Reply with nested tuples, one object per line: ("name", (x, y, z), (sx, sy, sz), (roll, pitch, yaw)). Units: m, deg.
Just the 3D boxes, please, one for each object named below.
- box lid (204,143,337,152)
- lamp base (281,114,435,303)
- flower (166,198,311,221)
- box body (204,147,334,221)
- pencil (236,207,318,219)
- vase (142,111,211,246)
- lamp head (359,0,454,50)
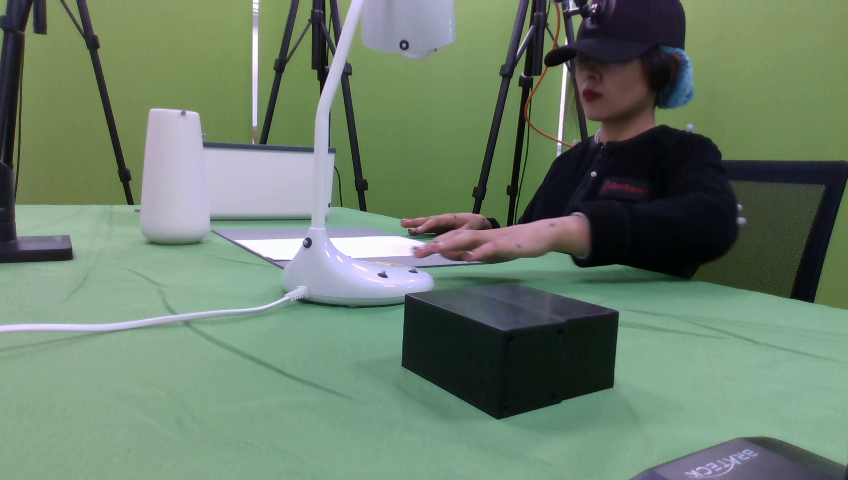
("box lid", (-0.407, -0.209, 1.370), (0.373, 0.015, 0.262), (-3, 9, -30))
("lamp base", (-0.071, -0.035, 0.614), (0.160, 0.180, 0.180), (6, 10, 27))
("flower", (-0.397, -0.058, 1.355), (0.044, 0.038, 0.364), (-37, -25, 32))
("box body", (-0.413, -0.134, 1.379), (0.366, 0.160, 0.253), (-2, 9, -31))
("pencil", (-0.347, -0.062, 1.437), (0.194, 0.012, 0.012), (7, 7, -6))
("vase", (-0.378, -0.093, 0.920), (0.098, 0.200, 0.098), (2, 9, 0))
("lamp head", (-0.024, -0.283, 0.674), (0.112, 0.123, 0.112), (-3, 38, 3))
